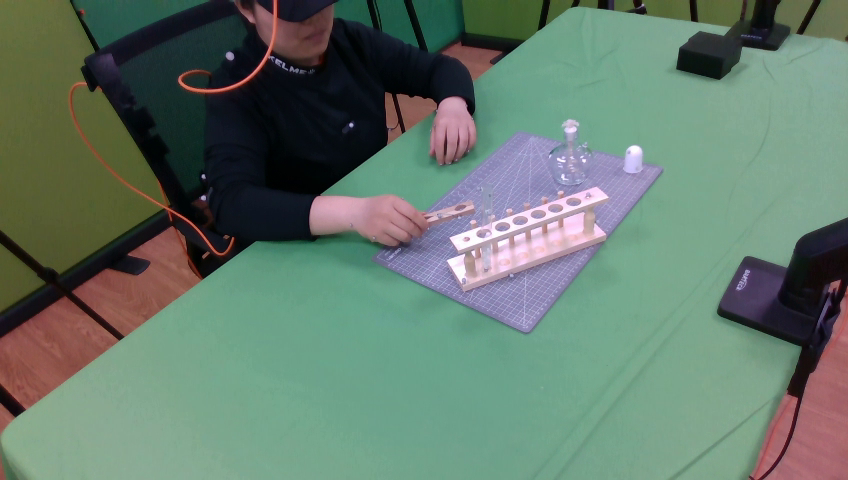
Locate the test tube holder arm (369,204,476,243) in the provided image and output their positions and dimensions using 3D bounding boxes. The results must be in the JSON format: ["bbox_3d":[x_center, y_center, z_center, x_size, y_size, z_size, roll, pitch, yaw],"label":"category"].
[{"bbox_3d":[-0.004,-0.026,0.971,0.178,0.015,0.013,-18,57,8],"label":"test tube holder arm"}]

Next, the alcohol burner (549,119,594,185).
[{"bbox_3d":[0.254,-0.155,1.043,0.078,0.120,0.077,-7,40,6],"label":"alcohol burner"}]

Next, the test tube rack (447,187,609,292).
[{"bbox_3d":[0.155,-0.011,0.913,0.243,0.085,0.066,-19,41,-11],"label":"test tube rack"}]

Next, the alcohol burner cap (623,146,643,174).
[{"bbox_3d":[0.369,-0.142,1.061,0.034,0.048,0.033,-7,41,6],"label":"alcohol burner cap"}]

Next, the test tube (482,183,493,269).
[{"bbox_3d":[0.089,-0.016,0.854,0.017,0.151,0.017,-2,39,2],"label":"test tube"}]

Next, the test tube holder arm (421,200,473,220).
[{"bbox_3d":[0.038,-0.044,0.968,0.088,0.015,0.010,-17,57,9],"label":"test tube holder arm"}]
